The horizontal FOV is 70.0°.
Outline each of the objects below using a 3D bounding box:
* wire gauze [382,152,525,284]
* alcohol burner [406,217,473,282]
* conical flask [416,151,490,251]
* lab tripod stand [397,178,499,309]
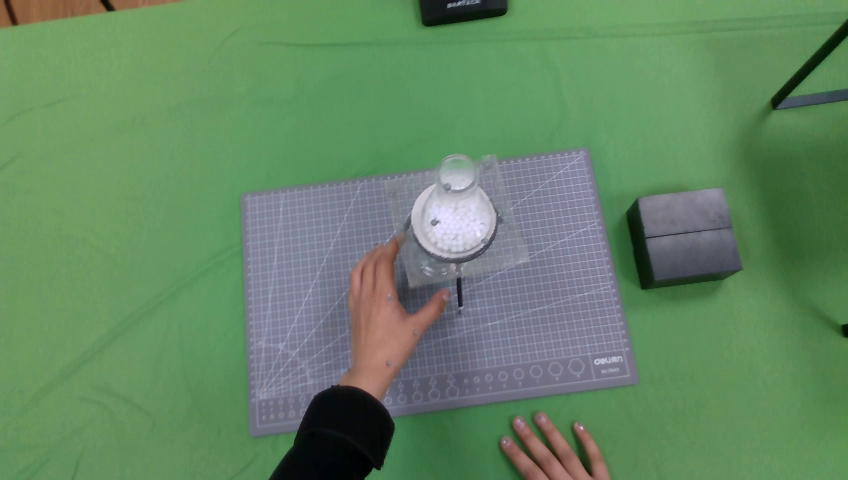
[{"bbox_3d":[0.029,-0.023,0.619,0.125,0.011,0.121,-12,76,-5],"label":"wire gauze"},{"bbox_3d":[0.018,0.006,0.690,0.078,0.120,0.077,0,73,0],"label":"alcohol burner"},{"bbox_3d":[0.027,-0.041,0.562,0.075,0.122,0.075,0,73,2],"label":"conical flask"},{"bbox_3d":[0.033,-0.007,0.682,0.148,0.132,0.147,-1,72,2],"label":"lab tripod stand"}]
